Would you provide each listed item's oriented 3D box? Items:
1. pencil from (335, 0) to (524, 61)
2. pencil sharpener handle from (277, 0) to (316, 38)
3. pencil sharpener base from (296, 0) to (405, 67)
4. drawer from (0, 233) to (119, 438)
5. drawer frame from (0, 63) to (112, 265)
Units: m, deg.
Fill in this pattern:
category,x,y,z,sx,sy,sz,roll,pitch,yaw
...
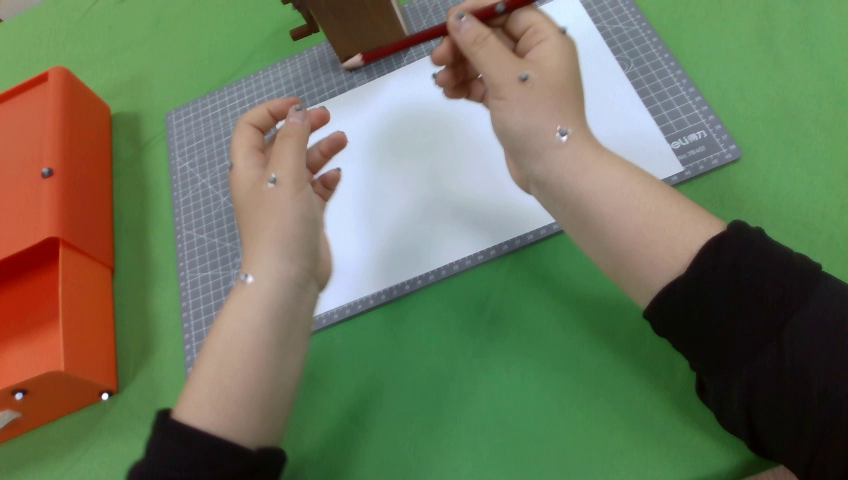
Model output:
category,x,y,z,sx,sy,sz,roll,pitch,yaw
pencil,0.035,-0.140,0.366,0.194,0.012,0.012,-16,60,10
pencil sharpener handle,-0.121,-0.207,0.538,0.030,0.068,0.035,-21,65,8
pencil sharpener base,-0.070,-0.218,0.541,0.076,0.108,0.061,-21,60,8
drawer,-0.370,0.062,0.519,0.194,0.074,0.209,-24,59,6
drawer frame,-0.406,-0.034,0.576,0.201,0.083,0.211,-24,59,6
